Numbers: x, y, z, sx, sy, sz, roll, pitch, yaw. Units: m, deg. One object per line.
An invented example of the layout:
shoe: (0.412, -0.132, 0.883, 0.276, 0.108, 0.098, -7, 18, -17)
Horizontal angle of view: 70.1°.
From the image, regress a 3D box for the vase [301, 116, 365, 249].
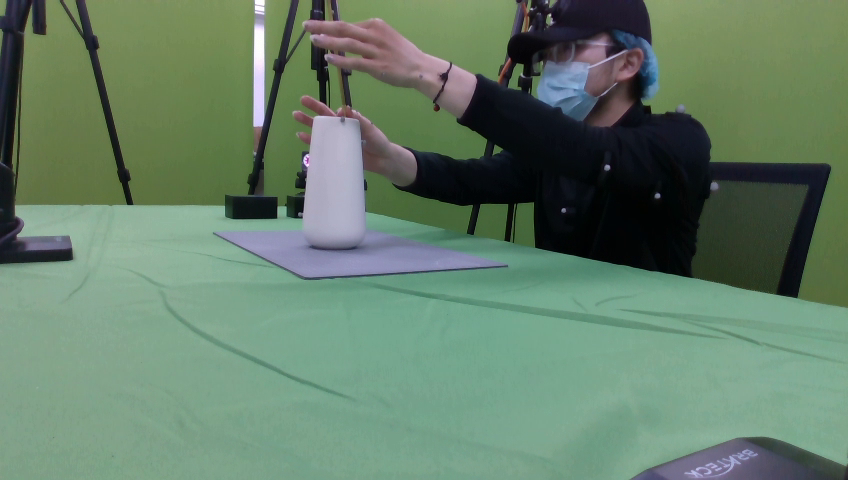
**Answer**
vase: (-0.139, -0.088, 0.930, 0.098, 0.200, 0.098, 1, 9, 0)

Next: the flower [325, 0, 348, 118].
flower: (-0.130, -0.246, 0.926, 0.038, 0.361, 0.044, 6, 19, 43)
